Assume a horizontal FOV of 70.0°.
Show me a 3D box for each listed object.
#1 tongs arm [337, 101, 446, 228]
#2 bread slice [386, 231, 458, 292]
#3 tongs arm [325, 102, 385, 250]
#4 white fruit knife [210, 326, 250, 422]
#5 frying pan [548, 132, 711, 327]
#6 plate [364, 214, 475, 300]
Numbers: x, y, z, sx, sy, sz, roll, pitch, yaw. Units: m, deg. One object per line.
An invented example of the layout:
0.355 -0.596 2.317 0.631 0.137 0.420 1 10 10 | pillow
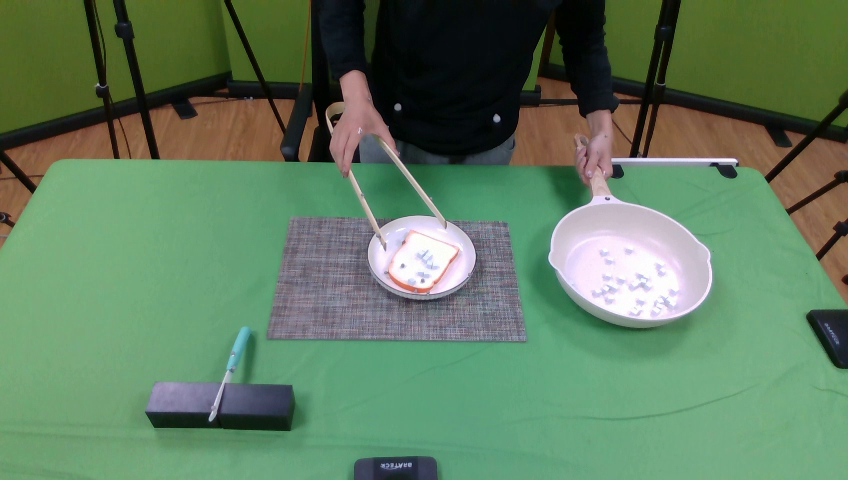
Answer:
-0.066 -0.153 1.146 0.028 0.028 0.385 -29 56 -14 | tongs arm
-0.007 0.043 1.142 0.107 0.018 0.134 18 46 14 | bread slice
-0.123 -0.131 1.130 0.051 0.027 0.382 -21 54 -12 | tongs arm
-0.301 0.201 0.942 0.016 0.027 0.206 1 32 -1 | white fruit knife
0.370 -0.038 1.201 0.307 0.103 0.484 -2 56 -6 | frying pan
-0.010 0.036 1.146 0.208 0.039 0.206 2 46 -2 | plate
